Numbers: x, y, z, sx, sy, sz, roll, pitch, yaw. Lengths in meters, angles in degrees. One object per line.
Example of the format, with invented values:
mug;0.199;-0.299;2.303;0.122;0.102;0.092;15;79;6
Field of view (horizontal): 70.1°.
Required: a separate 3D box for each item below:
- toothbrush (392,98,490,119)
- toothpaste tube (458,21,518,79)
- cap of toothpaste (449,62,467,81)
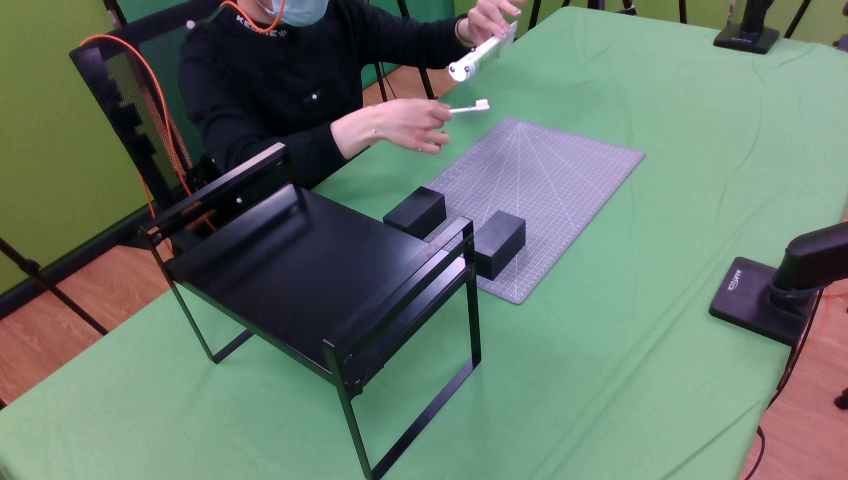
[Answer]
toothbrush;0.027;-0.230;1.069;0.181;0.017;0.014;-4;34;20
toothpaste tube;0.110;-0.333;1.075;0.034;0.055;0.165;42;64;14
cap of toothpaste;0.056;-0.284;1.020;0.011;0.037;0.037;-29;15;50
